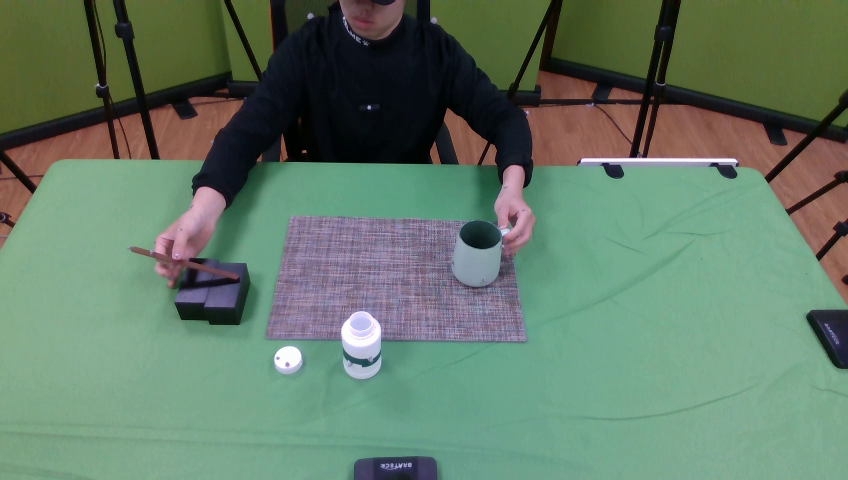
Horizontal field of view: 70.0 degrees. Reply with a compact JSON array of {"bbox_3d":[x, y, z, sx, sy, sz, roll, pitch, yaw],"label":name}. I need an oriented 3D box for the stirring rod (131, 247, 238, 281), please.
[{"bbox_3d":[-0.404,0.040,1.026,0.177,0.006,0.014,18,15,-16],"label":"stirring rod"}]

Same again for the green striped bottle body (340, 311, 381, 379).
[{"bbox_3d":[-0.101,0.165,0.964,0.063,0.120,0.063,2,46,-2],"label":"green striped bottle body"}]

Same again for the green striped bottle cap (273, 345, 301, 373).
[{"bbox_3d":[-0.225,0.195,0.997,0.044,0.020,0.044,2,50,-2],"label":"green striped bottle cap"}]

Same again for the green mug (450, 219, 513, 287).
[{"bbox_3d":[0.111,0.019,1.125,0.125,0.105,0.092,-23,52,-24],"label":"green mug"}]
